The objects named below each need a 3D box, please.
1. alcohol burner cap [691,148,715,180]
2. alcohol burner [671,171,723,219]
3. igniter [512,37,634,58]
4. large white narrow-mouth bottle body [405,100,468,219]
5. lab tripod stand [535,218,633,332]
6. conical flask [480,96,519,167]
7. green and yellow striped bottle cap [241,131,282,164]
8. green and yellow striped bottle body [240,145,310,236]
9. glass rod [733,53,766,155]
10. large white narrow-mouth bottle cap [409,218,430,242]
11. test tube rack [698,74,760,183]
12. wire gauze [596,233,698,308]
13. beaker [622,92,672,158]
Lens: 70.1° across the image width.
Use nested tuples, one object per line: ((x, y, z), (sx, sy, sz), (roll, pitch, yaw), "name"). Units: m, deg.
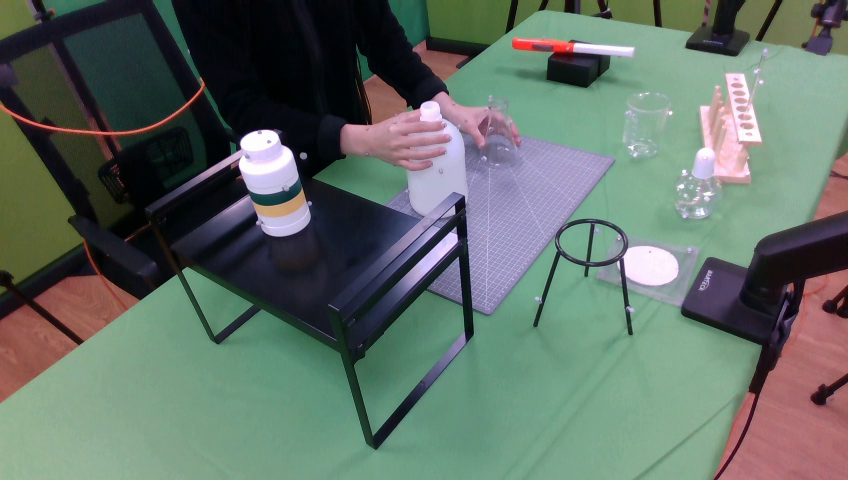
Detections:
((0.432, -0.120, 0.930), (0.034, 0.048, 0.033), (-7, 48, 8), "alcohol burner cap")
((0.434, -0.093, 0.955), (0.078, 0.119, 0.077), (-3, 43, 3), "alcohol burner")
((0.328, -0.433, 1.360), (0.275, 0.025, 0.057), (12, 33, 20), "igniter")
((0.019, -0.136, 0.998), (0.102, 0.195, 0.101), (-3, 40, 3), "large white narrow-mouth bottle body")
((0.215, 0.050, 0.803), (0.148, 0.132, 0.147), (-4, 42, 4), "lab tripod stand")
((0.138, -0.201, 1.111), (0.075, 0.122, 0.075), (-4, 41, 4), "conical flask")
((-0.187, -0.107, 0.695), (0.045, 0.020, 0.045), (-3, 39, 3), "green and yellow striped bottle cap")
((-0.181, -0.068, 0.729), (0.063, 0.120, 0.063), (-4, 40, 4), "green and yellow striped bottle body")
((0.540, -0.220, 1.007), (0.008, 0.201, 0.008), (-5, 45, 6), "glass rod")
((-0.007, -0.017, 1.000), (0.038, 0.024, 0.037), (-3, 39, 3), "large white narrow-mouth bottle cap")
((0.547, -0.208, 1.095), (0.066, 0.085, 0.242), (6, 42, 15), "test tube rack")
((0.331, 0.038, 0.897), (0.124, 0.011, 0.121), (18, 47, 26), "wire gauze")
((0.402, -0.210, 1.106), (0.074, 0.101, 0.083), (-8, 40, -2), "beaker")
